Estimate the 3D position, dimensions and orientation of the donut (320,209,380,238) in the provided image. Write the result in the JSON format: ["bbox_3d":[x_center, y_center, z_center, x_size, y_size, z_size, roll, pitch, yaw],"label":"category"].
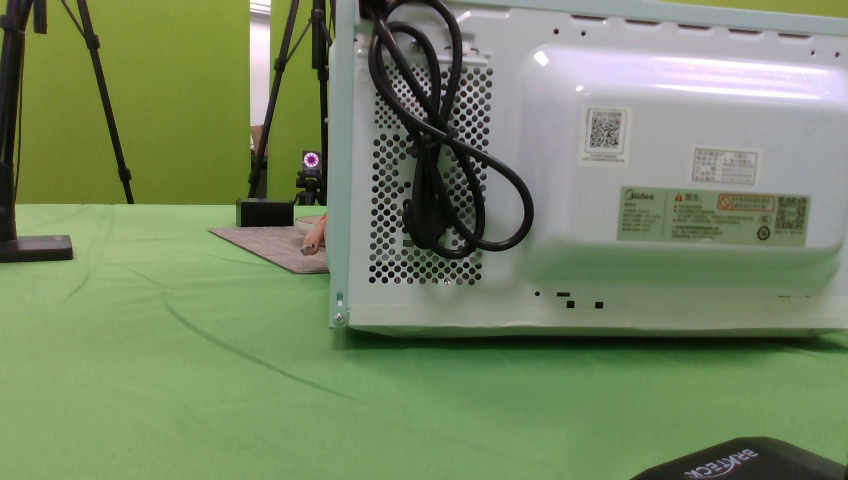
[{"bbox_3d":[-0.121,-0.027,0.995,0.099,0.048,0.099,2,5,0],"label":"donut"}]

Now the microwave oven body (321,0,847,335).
[{"bbox_3d":[0.133,-0.062,0.568,0.443,0.260,0.325,2,7,-8],"label":"microwave oven body"}]

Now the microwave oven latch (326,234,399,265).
[{"bbox_3d":[-0.070,0.011,0.692,0.079,0.029,0.030,4,6,9],"label":"microwave oven latch"}]

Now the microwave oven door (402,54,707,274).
[{"bbox_3d":[0.156,-0.085,0.717,0.357,0.243,0.039,1,8,-8],"label":"microwave oven door"}]

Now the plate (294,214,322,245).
[{"bbox_3d":[-0.108,-0.015,0.996,0.209,0.038,0.209,2,7,0],"label":"plate"}]
